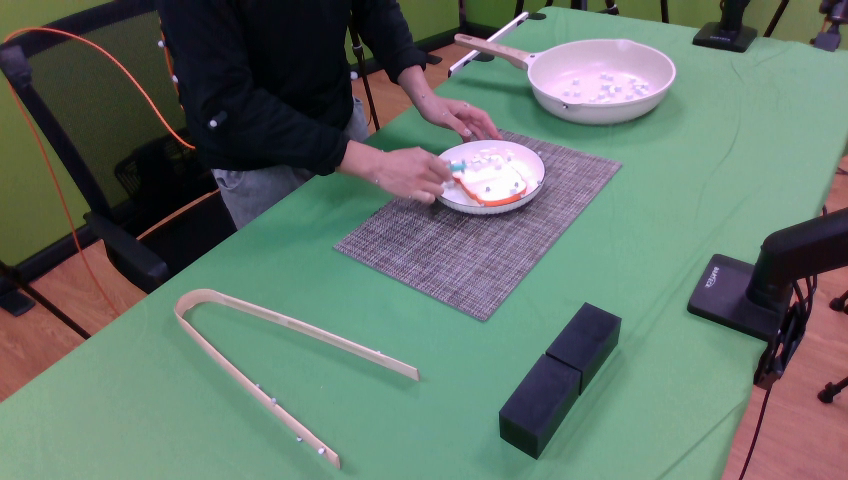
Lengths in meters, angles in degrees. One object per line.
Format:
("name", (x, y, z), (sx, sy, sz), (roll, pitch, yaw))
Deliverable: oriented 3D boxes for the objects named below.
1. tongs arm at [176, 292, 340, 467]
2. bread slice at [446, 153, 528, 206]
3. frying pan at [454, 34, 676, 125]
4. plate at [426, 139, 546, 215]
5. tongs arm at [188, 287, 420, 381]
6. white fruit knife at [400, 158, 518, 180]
("tongs arm", (-0.225, 0.168, 0.793), (0.381, 0.026, 0.051), (25, 49, 33))
("bread slice", (0.117, -0.104, 1.057), (0.107, 0.018, 0.133), (-23, 41, -18))
("frying pan", (0.277, -0.370, 1.295), (0.485, 0.103, 0.307), (26, 49, 22))
("plate", (0.109, -0.107, 1.059), (0.207, 0.039, 0.206), (-4, 40, 4))
("tongs arm", (-0.177, 0.126, 0.842), (0.385, 0.028, 0.028), (15, 48, 24))
("white fruit knife", (0.062, -0.123, 1.013), (0.208, 0.027, 0.016), (-10, 74, -15))
